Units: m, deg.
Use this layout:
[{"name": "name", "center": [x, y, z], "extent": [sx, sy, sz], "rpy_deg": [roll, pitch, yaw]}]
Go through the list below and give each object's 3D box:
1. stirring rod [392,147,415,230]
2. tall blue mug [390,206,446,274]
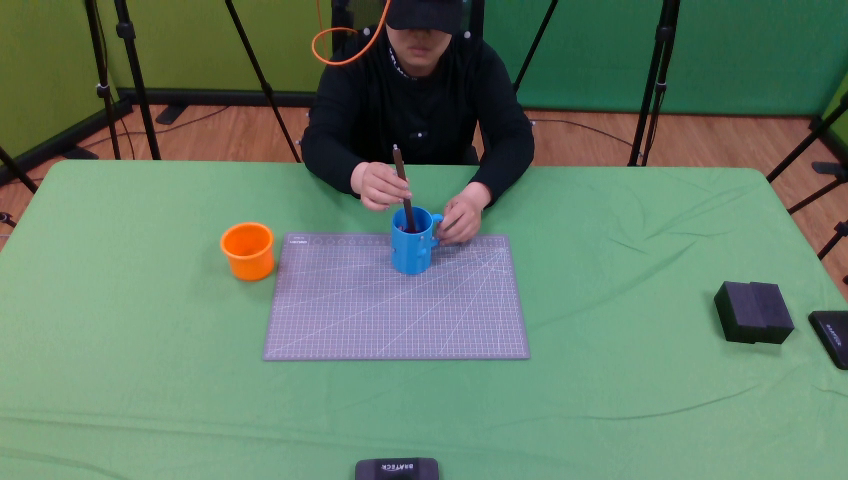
[{"name": "stirring rod", "center": [-0.035, -0.085, 1.057], "extent": [0.014, 0.177, 0.006], "rpy_deg": [4, 43, 15]}, {"name": "tall blue mug", "center": [-0.016, -0.008, 1.142], "extent": [0.077, 0.108, 0.107], "rpy_deg": [23, 49, 19]}]
